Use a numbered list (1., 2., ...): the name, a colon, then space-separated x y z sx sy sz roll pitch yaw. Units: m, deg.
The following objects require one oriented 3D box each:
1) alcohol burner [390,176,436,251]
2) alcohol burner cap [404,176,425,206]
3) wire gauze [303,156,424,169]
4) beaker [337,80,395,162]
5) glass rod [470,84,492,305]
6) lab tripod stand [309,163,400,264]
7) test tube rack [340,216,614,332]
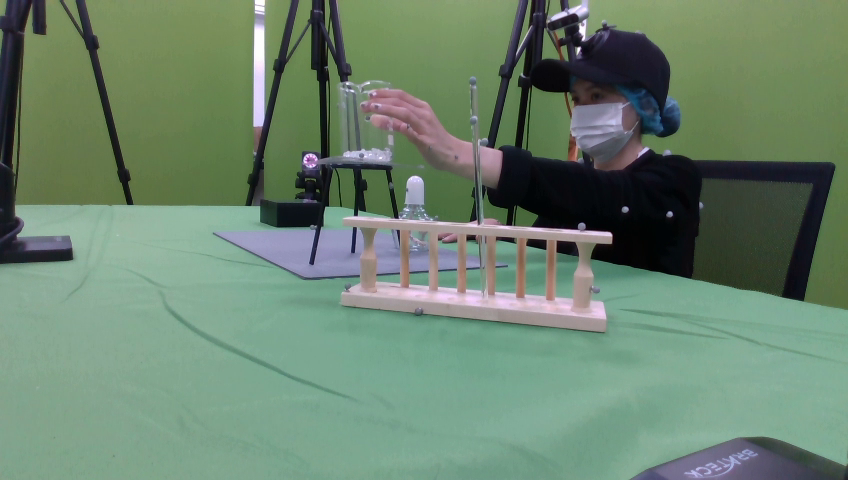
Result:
1. alcohol burner: -0.016 -0.042 0.955 0.078 0.119 0.078 4 5 0
2. alcohol burner cap: -0.015 -0.077 0.951 0.034 0.048 0.034 2 4 0
3. wire gauze: -0.082 -0.102 0.799 0.126 0.011 0.121 0 6 -30
4. beaker: -0.075 -0.153 0.791 0.074 0.100 0.084 -2 6 4
5. glass rod: 0.051 -0.036 0.535 0.008 0.199 0.008 -5 10 1
6. lab tripod stand: -0.091 -0.037 0.813 0.148 0.131 0.148 1 6 0
7. test tube rack: 0.048 0.026 0.568 0.242 0.085 0.067 4 8 13
